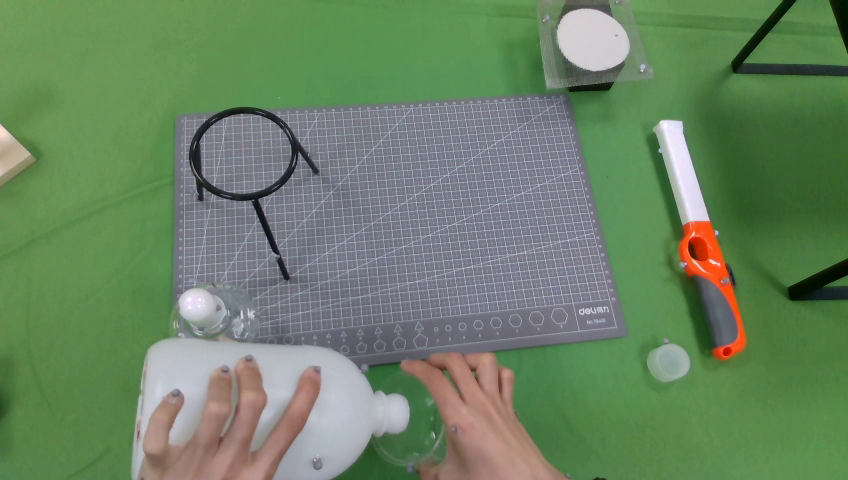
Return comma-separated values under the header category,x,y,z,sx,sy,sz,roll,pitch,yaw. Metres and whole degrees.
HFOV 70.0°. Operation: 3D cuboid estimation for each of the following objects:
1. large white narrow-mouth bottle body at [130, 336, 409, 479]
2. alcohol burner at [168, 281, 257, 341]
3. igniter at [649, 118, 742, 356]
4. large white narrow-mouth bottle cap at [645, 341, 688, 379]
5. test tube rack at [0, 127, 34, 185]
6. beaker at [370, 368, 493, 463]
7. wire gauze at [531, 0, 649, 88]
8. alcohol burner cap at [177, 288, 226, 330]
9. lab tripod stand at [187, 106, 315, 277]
category,x,y,z,sx,sy,sz,roll,pitch,yaw
large white narrow-mouth bottle body,-0.104,0.127,0.446,0.196,0.102,0.101,9,66,-26
alcohol burner,-0.190,0.068,0.537,0.078,0.120,0.077,3,67,-6
igniter,0.295,-0.011,0.664,0.057,0.025,0.274,-1,70,-17
large white narrow-mouth bottle cap,0.245,0.122,0.614,0.038,0.024,0.037,2,69,-4
test tube rack,-0.510,-0.039,0.564,0.066,0.085,0.242,41,71,10
beaker,0.008,0.155,0.528,0.083,0.101,0.073,2,73,34
wire gauze,0.187,-0.232,0.696,0.122,0.011,0.124,-4,70,-7
alcohol burner cap,-0.187,0.056,0.503,0.034,0.048,0.033,1,74,-5
lab tripod stand,-0.158,-0.050,0.575,0.149,0.132,0.147,3,69,-6
